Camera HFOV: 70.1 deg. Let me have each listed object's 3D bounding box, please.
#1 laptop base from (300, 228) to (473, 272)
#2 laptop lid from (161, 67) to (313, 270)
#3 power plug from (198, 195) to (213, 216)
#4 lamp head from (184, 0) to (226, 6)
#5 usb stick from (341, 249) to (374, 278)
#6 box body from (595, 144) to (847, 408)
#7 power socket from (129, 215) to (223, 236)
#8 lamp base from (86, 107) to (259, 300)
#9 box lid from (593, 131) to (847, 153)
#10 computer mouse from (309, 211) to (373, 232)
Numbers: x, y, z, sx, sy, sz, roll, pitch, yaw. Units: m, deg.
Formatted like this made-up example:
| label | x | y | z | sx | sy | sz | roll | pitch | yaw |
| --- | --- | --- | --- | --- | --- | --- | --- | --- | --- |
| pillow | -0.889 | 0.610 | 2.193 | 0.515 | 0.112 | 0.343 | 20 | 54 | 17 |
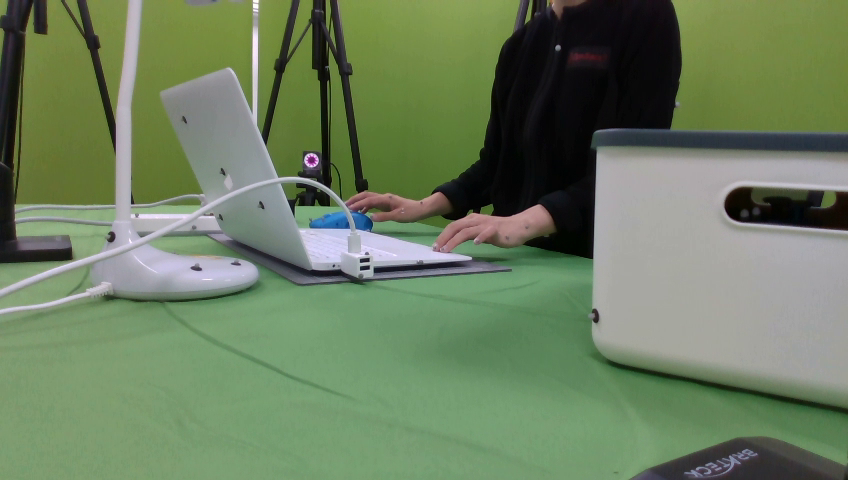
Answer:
| label | x | y | z | sx | sy | sz | roll | pitch | yaw |
| --- | --- | --- | --- | --- | --- | --- | --- | --- | --- |
| laptop base | -0.124 | 0.011 | 0.889 | 0.237 | 0.023 | 0.352 | 2 | 6 | -35 |
| laptop lid | -0.255 | -0.090 | 0.782 | 0.013 | 0.242 | 0.355 | -29 | 24 | -28 |
| power plug | -0.386 | -0.055 | 1.088 | 0.035 | 0.052 | 0.072 | -2 | 6 | -24 |
| lamp head | -0.229 | -0.320 | 0.627 | 0.112 | 0.112 | 0.123 | 6 | -36 | 26 |
| usb stick | -0.079 | 0.026 | 0.687 | 0.021 | 0.027 | 0.059 | -8 | 9 | -30 |
| box body | 0.309 | 0.007 | 0.508 | 0.253 | 0.160 | 0.366 | 6 | 8 | 30 |
| power socket | -0.397 | -0.028 | 1.048 | 0.228 | 0.032 | 0.072 | -3 | 8 | -35 |
| lamp base | -0.254 | -0.039 | 0.603 | 0.160 | 0.180 | 0.179 | 5 | 10 | 18 |
| box lid | 0.311 | -0.067 | 0.498 | 0.262 | 0.015 | 0.373 | 6 | 7 | 30 |
| computer mouse | -0.157 | -0.033 | 1.139 | 0.118 | 0.041 | 0.062 | -5 | 11 | -28 |
